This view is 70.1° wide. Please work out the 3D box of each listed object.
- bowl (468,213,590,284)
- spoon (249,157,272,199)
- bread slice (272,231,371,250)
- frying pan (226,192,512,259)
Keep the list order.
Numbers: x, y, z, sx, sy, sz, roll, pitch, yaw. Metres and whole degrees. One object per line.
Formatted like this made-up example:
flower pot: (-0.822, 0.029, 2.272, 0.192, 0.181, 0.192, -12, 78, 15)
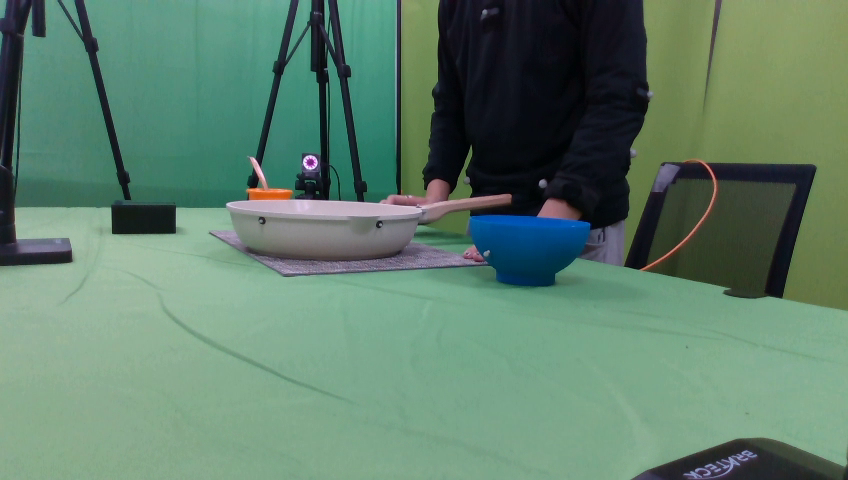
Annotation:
bowl: (0.128, 0.011, 0.755, 0.151, 0.077, 0.151, 2, 7, 0)
spoon: (-0.334, -0.108, 1.269, 0.042, 0.193, 0.021, 0, -37, -39)
bread slice: (-0.148, 0.001, 0.929, 0.133, 0.018, 0.107, 5, 8, 38)
frying pan: (-0.058, -0.041, 0.974, 0.490, 0.102, 0.305, -11, 13, -26)
